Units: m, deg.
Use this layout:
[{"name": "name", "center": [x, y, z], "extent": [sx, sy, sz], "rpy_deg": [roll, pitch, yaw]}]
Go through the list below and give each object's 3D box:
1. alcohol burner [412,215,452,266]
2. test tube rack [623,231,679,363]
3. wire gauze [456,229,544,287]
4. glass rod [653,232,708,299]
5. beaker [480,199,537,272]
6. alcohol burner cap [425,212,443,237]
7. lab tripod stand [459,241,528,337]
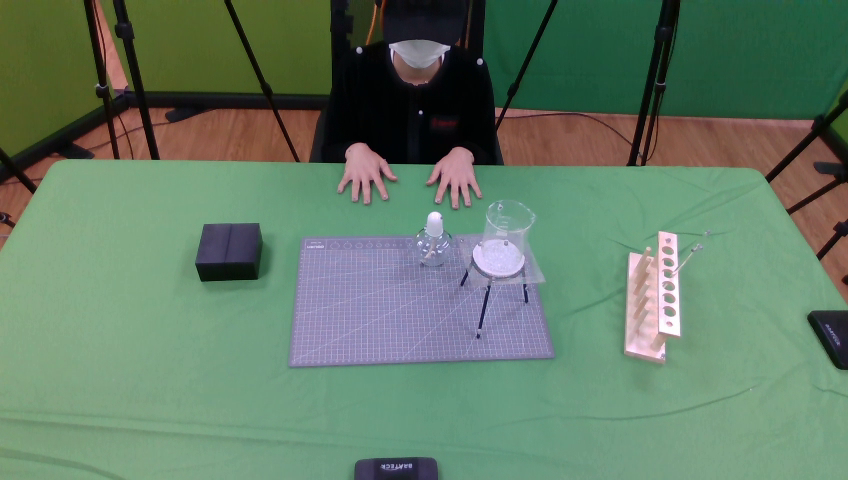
[{"name": "alcohol burner", "center": [0.017, -0.006, 1.139], "extent": [0.078, 0.119, 0.077], "rpy_deg": [2, 48, -2]}, {"name": "test tube rack", "center": [0.410, 0.094, 1.096], "extent": [0.066, 0.085, 0.241], "rpy_deg": [13, 46, 9]}, {"name": "wire gauze", "center": [0.125, 0.030, 1.008], "extent": [0.125, 0.011, 0.120], "rpy_deg": [-3, 48, -11]}, {"name": "glass rod", "center": [0.441, 0.049, 1.050], "extent": [0.008, 0.200, 0.008], "rpy_deg": [4, 52, -5]}, {"name": "beaker", "center": [0.132, -0.004, 0.973], "extent": [0.084, 0.101, 0.073], "rpy_deg": [-4, 47, -10]}, {"name": "alcohol burner cap", "center": [0.019, -0.032, 1.114], "extent": [0.034, 0.048, 0.033], "rpy_deg": [0, 49, 0]}, {"name": "lab tripod stand", "center": [0.122, 0.075, 1.054], "extent": [0.148, 0.132, 0.147], "rpy_deg": [3, 44, -3]}]
